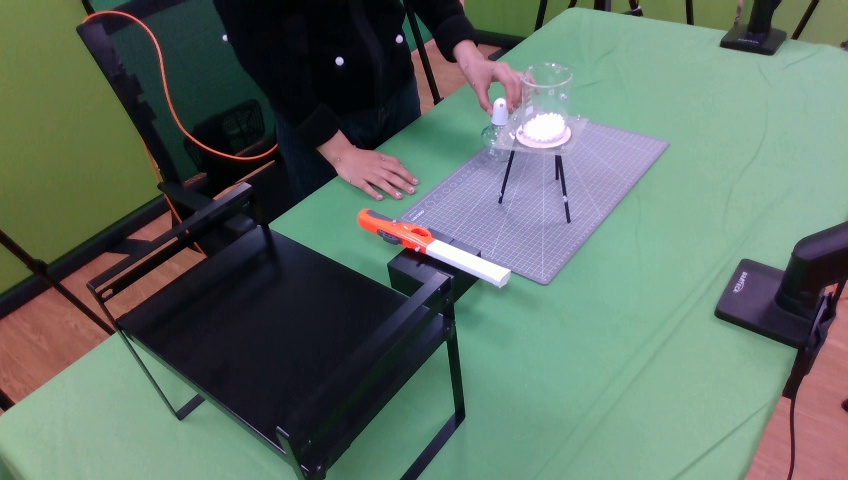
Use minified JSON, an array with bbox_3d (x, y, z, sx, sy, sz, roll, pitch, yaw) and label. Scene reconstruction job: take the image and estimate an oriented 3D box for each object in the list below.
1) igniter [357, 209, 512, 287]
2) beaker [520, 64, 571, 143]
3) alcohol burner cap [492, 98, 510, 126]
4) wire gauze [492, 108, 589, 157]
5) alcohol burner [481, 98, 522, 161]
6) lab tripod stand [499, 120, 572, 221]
[{"bbox_3d":[0.004,0.006,0.891,0.274,0.025,0.057,23,38,30],"label":"igniter"},{"bbox_3d":[0.187,-0.208,0.924,0.073,0.101,0.084,23,49,30],"label":"beaker"},{"bbox_3d":[0.142,-0.235,1.101,0.034,0.048,0.033,-2,42,2],"label":"alcohol burner cap"},{"bbox_3d":[0.185,-0.169,0.954,0.121,0.011,0.125,13,46,22],"label":"wire gauze"},{"bbox_3d":[0.143,-0.208,1.124,0.078,0.119,0.077,-6,39,5],"label":"alcohol burner"},{"bbox_3d":[0.198,-0.117,0.992,0.148,0.132,0.147,-3,40,3],"label":"lab tripod stand"}]
